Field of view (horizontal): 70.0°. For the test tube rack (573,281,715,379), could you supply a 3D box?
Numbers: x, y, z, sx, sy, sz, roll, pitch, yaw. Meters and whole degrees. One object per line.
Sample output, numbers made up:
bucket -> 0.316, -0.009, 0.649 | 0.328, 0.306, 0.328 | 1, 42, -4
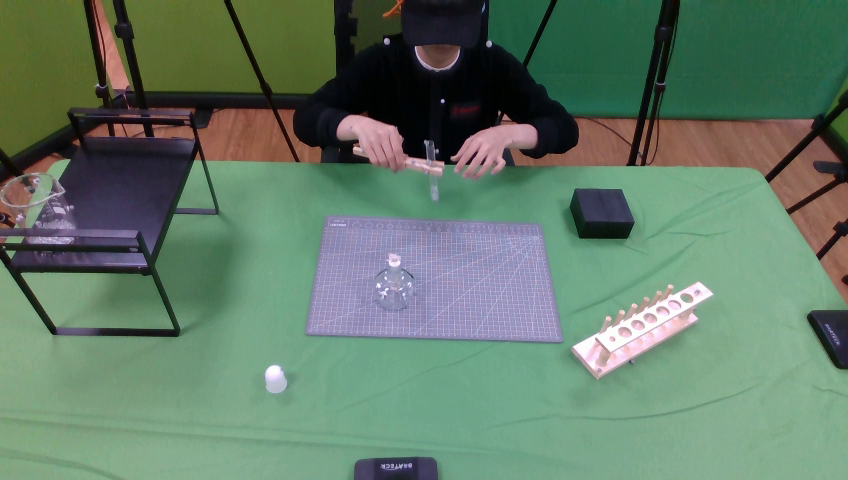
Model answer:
test tube rack -> 0.378, 0.140, 1.038 | 0.242, 0.085, 0.066 | -22, 51, -23

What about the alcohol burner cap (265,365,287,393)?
alcohol burner cap -> -0.236, 0.216, 0.956 | 0.034, 0.048, 0.033 | 3, 45, -3

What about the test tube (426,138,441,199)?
test tube -> 0.018, -0.129, 1.121 | 0.017, 0.151, 0.017 | -3, 51, 4

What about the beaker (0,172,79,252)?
beaker -> -0.557, -0.038, 0.889 | 0.084, 0.101, 0.073 | -3, 47, -8

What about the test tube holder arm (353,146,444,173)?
test tube holder arm -> -0.049, -0.150, 1.122 | 0.178, 0.015, 0.013 | 14, 51, 13

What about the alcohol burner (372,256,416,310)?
alcohol burner -> -0.052, 0.068, 1.057 | 0.078, 0.120, 0.077 | 1, 48, -1

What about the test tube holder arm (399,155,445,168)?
test tube holder arm -> -0.004, -0.145, 1.117 | 0.088, 0.015, 0.010 | 8, 50, 8
